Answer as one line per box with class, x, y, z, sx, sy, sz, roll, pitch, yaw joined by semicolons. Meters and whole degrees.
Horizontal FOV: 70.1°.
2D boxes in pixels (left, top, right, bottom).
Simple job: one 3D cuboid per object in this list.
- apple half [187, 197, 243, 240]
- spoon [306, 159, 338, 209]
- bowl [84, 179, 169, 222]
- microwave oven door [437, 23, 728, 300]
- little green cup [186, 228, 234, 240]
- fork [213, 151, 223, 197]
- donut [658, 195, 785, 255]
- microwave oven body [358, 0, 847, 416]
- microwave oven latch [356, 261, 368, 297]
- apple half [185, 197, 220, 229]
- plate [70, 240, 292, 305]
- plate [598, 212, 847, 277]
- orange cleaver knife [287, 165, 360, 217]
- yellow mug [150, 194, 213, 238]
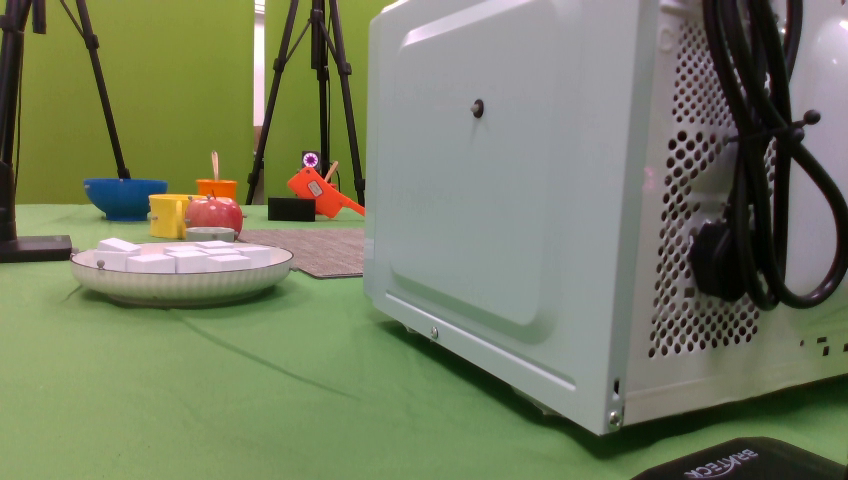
apple half;-0.305;-0.026;0.907;0.053;0.074;0.081;12;8;31
spoon;-0.257;-0.147;1.567;0.041;0.022;0.193;2;50;20
bowl;-0.584;-0.078;1.194;0.151;0.077;0.151;3;8;0
microwave oven door;0.180;-0.072;0.621;0.358;0.243;0.039;-2;8;-29
little green cup;-0.284;0.005;0.805;0.061;0.038;0.061;3;8;0
fork;-0.494;-0.143;1.442;0.028;0.018;0.206;-2;52;-20
donut;0.252;-0.012;0.517;0.099;0.048;0.099;4;8;0
microwave oven body;0.211;-0.047;0.475;0.444;0.260;0.324;-1;7;-28
microwave oven latch;-0.020;0.033;0.531;0.079;0.029;0.030;-1;7;-27
apple half;-0.338;-0.031;0.927;0.032;0.081;0.081;12;12;31
plate;-0.242;0.031;0.618;0.208;0.039;0.207;2;8;0
plate;0.255;0.001;0.518;0.209;0.038;0.209;2;6;0
orange cleaver knife;-0.211;-0.093;1.382;0.212;0.077;0.012;33;1;-15
yellow mug;-0.401;-0.040;1.003;0.100;0.064;0.130;-1;9;-20
